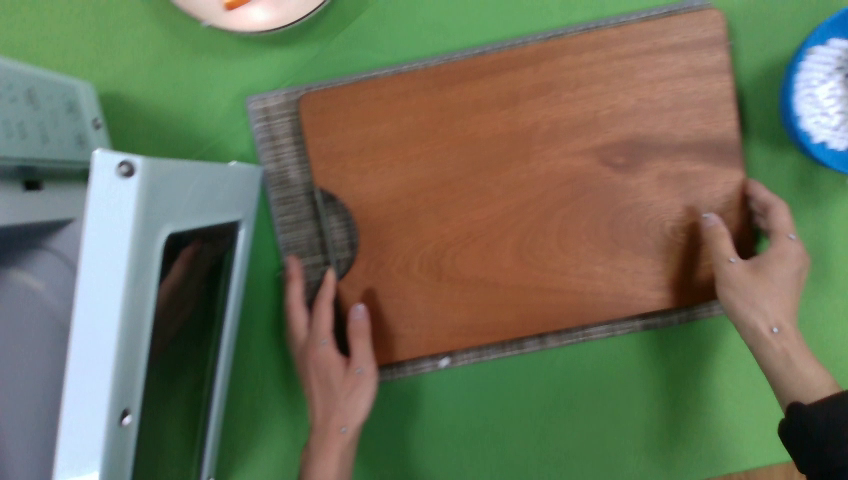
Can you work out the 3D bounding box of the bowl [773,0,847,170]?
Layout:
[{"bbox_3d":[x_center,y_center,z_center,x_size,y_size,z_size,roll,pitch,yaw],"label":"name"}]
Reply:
[{"bbox_3d":[0.381,-0.138,0.550,0.151,0.076,0.151,0,97,1],"label":"bowl"}]

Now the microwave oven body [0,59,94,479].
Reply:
[{"bbox_3d":[-0.426,0.107,0.493,0.326,0.259,0.442,-14,97,2],"label":"microwave oven body"}]

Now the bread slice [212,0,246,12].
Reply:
[{"bbox_3d":[-0.176,-0.293,0.558,0.105,0.019,0.132,-26,97,2],"label":"bread slice"}]

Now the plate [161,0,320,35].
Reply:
[{"bbox_3d":[-0.168,-0.294,0.557,0.208,0.039,0.208,0,97,1],"label":"plate"}]

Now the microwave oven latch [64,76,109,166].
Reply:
[{"bbox_3d":[-0.322,-0.109,0.563,0.030,0.029,0.079,-13,97,2],"label":"microwave oven latch"}]

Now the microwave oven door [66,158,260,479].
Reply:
[{"bbox_3d":[-0.204,0.111,0.487,0.039,0.243,0.356,10,97,0],"label":"microwave oven door"}]
